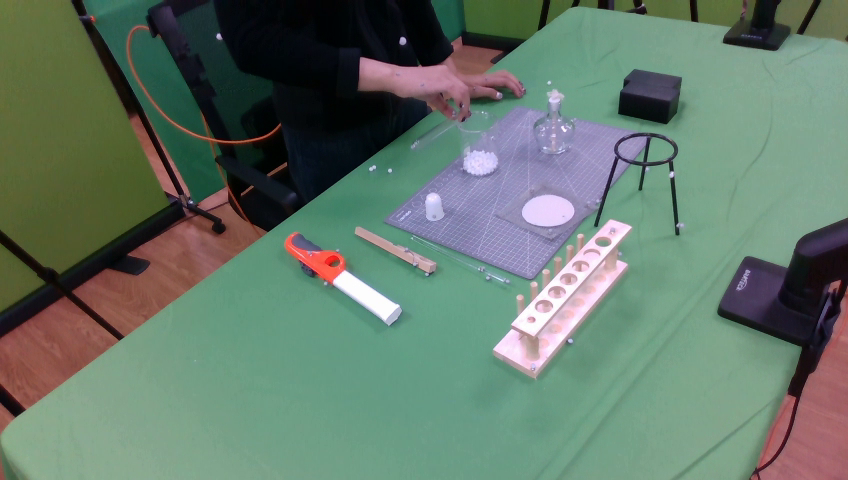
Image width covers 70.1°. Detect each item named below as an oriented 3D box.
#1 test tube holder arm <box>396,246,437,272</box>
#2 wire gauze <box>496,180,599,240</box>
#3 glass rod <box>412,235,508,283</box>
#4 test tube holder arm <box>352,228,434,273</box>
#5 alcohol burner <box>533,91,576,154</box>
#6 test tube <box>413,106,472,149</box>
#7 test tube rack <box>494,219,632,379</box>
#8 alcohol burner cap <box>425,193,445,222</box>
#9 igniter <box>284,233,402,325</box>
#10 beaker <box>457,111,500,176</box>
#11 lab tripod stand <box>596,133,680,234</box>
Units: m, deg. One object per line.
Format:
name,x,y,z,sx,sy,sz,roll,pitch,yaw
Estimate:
test tube holder arm,-0.016,0.029,0.957,0.087,0.015,0.010,25,15,35
wire gauze,0.206,-0.050,1.012,0.125,0.011,0.120,-34,45,-26
glass rod,0.051,0.028,0.951,0.198,0.008,0.008,25,51,37
test tube holder arm,-0.053,0.014,0.978,0.177,0.015,0.013,24,14,34
alcohol burner,0.243,-0.222,1.124,0.078,0.119,0.077,-4,39,4
test tube,0.031,-0.187,1.001,0.017,0.017,0.151,22,45,32
test tube rack,0.191,0.068,0.818,0.066,0.085,0.243,25,51,35
alcohol burner cap,0.017,-0.058,1.030,0.034,0.048,0.033,-6,40,5
igniter,-0.136,0.054,0.942,0.274,0.025,0.057,30,63,37
beaker,0.104,-0.175,1.108,0.073,0.101,0.084,15,46,27
lab tripod stand,0.338,-0.090,0.940,0.148,0.132,0.147,-7,39,6
